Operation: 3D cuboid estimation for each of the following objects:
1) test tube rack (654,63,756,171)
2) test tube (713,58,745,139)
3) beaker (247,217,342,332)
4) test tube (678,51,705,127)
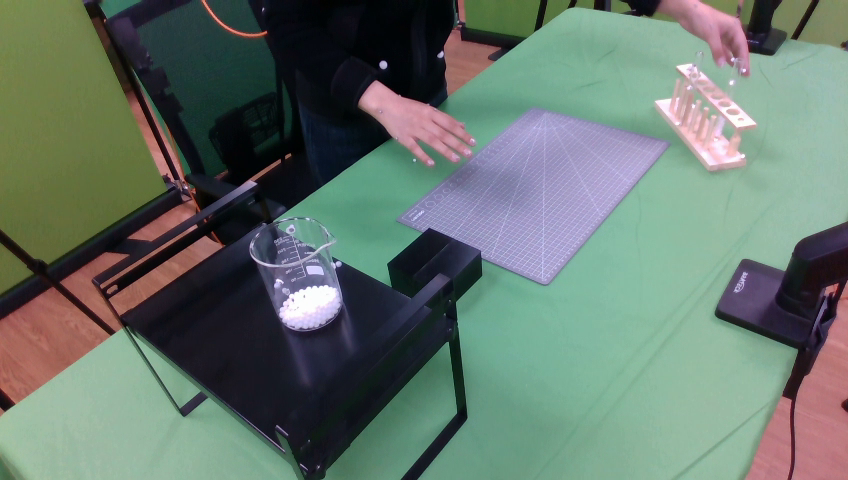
[{"bbox_3d":[0.511,-0.233,1.120,0.067,0.085,0.241,-9,41,-1],"label":"test tube rack"},{"bbox_3d":[0.530,-0.244,1.054,0.017,0.151,0.017,-1,39,2],"label":"test tube"},{"bbox_3d":[-0.124,0.037,0.614,0.084,0.101,0.073,-7,41,0],"label":"beaker"},{"bbox_3d":[0.487,-0.273,1.100,0.017,0.151,0.017,-3,42,3],"label":"test tube"}]
